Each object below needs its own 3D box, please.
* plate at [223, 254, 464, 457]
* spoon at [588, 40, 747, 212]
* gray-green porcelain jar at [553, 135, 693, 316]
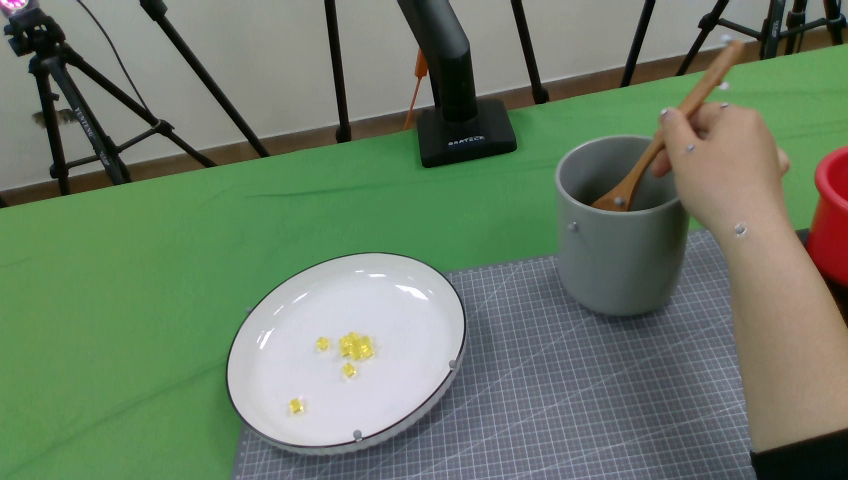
[{"bbox_3d":[-0.067,0.096,0.527,0.207,0.039,0.205,-7,41,7],"label":"plate"},{"bbox_3d":[0.173,-0.064,0.460,0.022,0.194,0.041,8,36,-35],"label":"spoon"},{"bbox_3d":[0.165,-0.007,0.512,0.106,0.128,0.105,-8,42,7],"label":"gray-green porcelain jar"}]
